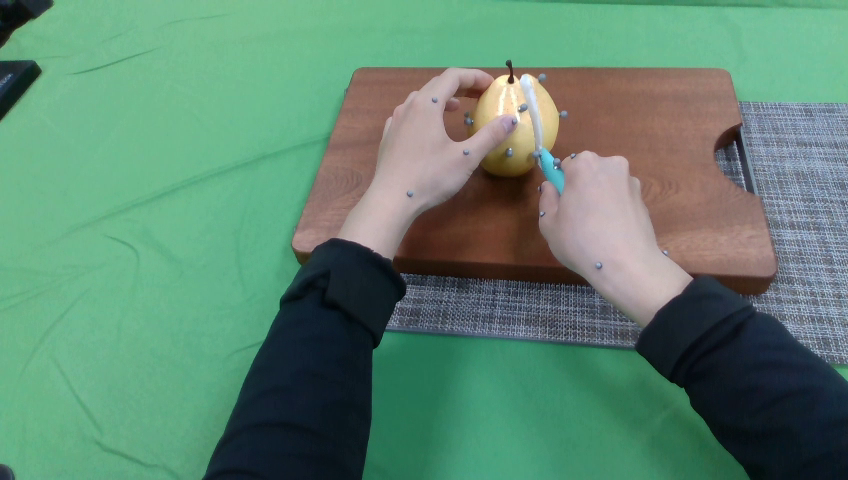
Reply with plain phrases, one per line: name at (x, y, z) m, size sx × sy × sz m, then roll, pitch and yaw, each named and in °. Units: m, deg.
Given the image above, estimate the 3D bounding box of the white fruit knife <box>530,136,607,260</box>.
white fruit knife at (0.102, -0.065, 0.520) m, size 0.016 × 0.028 × 0.205 m, roll -17°, pitch 50°, yaw -8°

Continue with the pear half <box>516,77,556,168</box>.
pear half at (0.100, -0.108, 0.542) m, size 0.031 × 0.089 × 0.069 m, roll -18°, pitch 49°, yaw -14°

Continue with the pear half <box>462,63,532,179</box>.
pear half at (0.061, -0.105, 0.530) m, size 0.056 × 0.111 × 0.075 m, roll -19°, pitch 47°, yaw -8°
